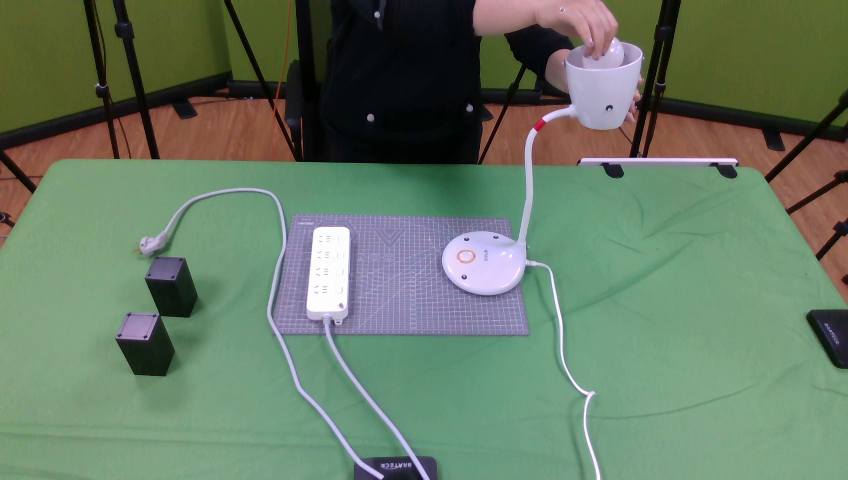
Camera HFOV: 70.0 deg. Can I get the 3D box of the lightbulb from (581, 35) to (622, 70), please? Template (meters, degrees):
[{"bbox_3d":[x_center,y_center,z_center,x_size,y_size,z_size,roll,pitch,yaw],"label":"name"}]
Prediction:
[{"bbox_3d":[0.270,-0.256,0.922,0.059,0.108,0.059,-8,32,5],"label":"lightbulb"}]

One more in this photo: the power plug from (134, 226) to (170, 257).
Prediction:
[{"bbox_3d":[-0.515,0.006,1.153,0.052,0.035,0.072,-6,24,7],"label":"power plug"}]

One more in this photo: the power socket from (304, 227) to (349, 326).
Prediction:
[{"bbox_3d":[-0.177,0.059,1.115,0.072,0.033,0.225,-1,46,-4],"label":"power socket"}]

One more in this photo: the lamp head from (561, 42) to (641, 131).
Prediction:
[{"bbox_3d":[0.269,-0.230,0.934,0.112,0.123,0.112,-3,37,2],"label":"lamp head"}]

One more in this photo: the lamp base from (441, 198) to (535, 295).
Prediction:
[{"bbox_3d":[0.130,-0.012,1.105,0.179,0.181,0.159,-1,46,-9],"label":"lamp base"}]
